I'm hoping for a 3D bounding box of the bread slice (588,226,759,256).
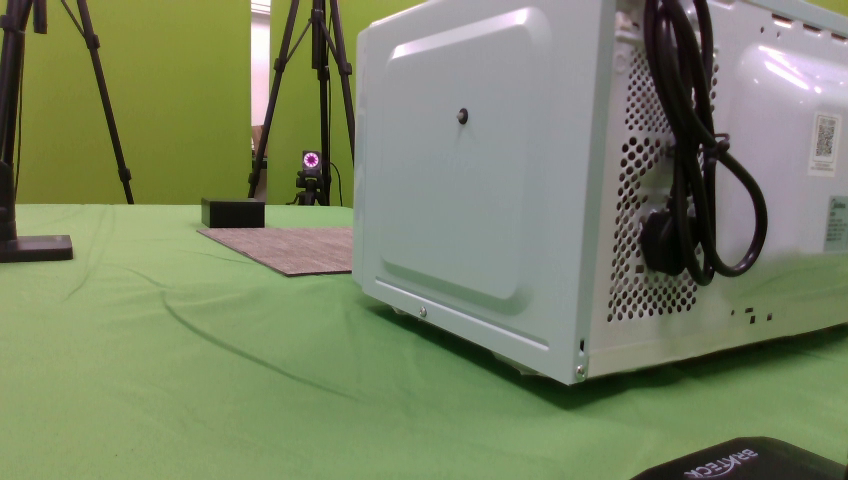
[{"bbox_3d":[0.226,0.000,0.569,0.132,0.019,0.104,2,5,-22],"label":"bread slice"}]

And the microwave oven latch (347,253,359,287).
[{"bbox_3d":[-0.034,0.028,0.580,0.079,0.029,0.030,-1,7,-30],"label":"microwave oven latch"}]

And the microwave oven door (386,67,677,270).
[{"bbox_3d":[0.134,-0.091,0.778,0.356,0.243,0.039,3,8,1],"label":"microwave oven door"}]

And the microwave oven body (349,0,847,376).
[{"bbox_3d":[0.199,-0.053,0.540,0.444,0.260,0.324,-1,7,-32],"label":"microwave oven body"}]
